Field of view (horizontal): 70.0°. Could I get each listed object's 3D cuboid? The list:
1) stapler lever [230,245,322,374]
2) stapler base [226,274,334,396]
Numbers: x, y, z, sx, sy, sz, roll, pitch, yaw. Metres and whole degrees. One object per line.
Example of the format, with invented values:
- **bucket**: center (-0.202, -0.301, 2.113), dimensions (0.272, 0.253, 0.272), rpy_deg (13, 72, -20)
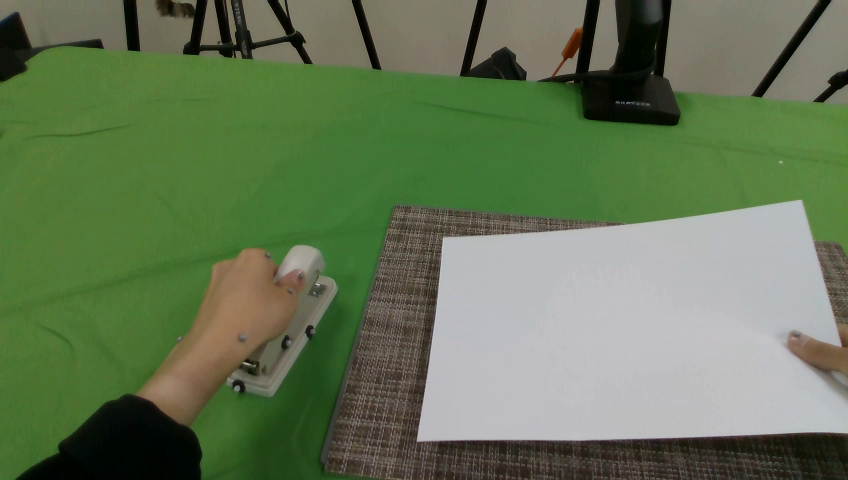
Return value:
- **stapler lever**: center (-0.116, 0.051, 0.487), dimensions (0.027, 0.040, 0.117), rpy_deg (11, 43, 14)
- **stapler base**: center (-0.117, 0.068, 0.504), dimensions (0.041, 0.024, 0.129), rpy_deg (11, 44, 13)
